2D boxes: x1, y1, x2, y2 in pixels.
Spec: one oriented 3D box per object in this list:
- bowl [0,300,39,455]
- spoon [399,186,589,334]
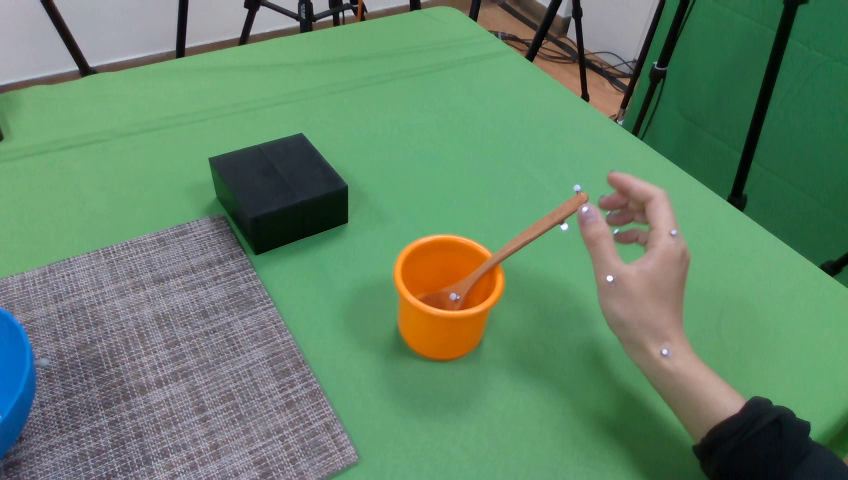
[{"bbox_3d":[-0.329,0.115,0.399,0.151,0.077,0.150,4,45,-4],"label":"bowl"},{"bbox_3d":[0.056,0.017,0.504,0.022,0.194,0.041,30,27,-48],"label":"spoon"}]
